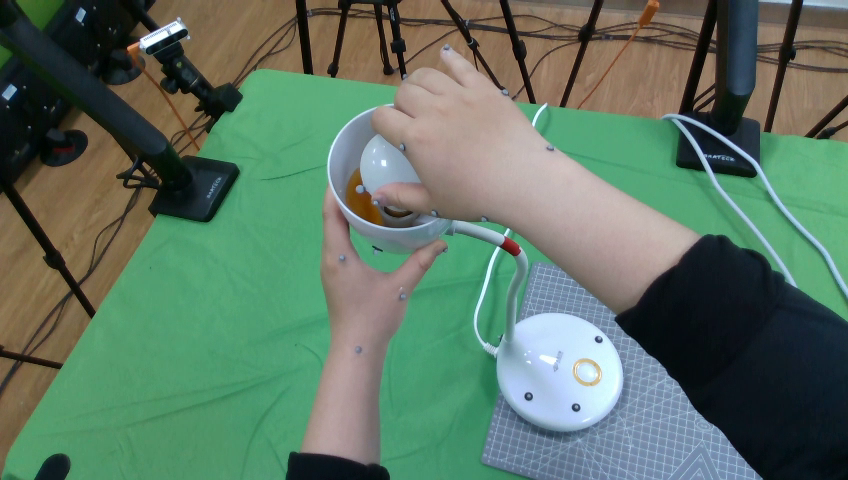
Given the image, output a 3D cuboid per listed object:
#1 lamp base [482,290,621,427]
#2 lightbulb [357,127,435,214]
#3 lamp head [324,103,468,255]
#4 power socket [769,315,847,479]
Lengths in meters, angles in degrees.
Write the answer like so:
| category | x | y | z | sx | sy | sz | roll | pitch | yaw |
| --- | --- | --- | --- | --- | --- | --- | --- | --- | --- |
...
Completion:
| category | x | y | z | sx | sy | sz | roll | pitch | yaw |
| --- | --- | --- | --- | --- | --- | --- | --- | --- | --- |
| lamp base | 0.150 | 0.120 | 0.725 | 0.178 | 0.182 | 0.159 | 5 | 58 | 15 |
| lightbulb | -0.021 | -0.047 | 0.481 | 0.059 | 0.108 | 0.059 | 1 | 71 | -2 |
| lamp head | -0.017 | -0.036 | 0.511 | 0.112 | 0.124 | 0.111 | -2 | 66 | 4 |
| power socket | 0.457 | 0.191 | 0.726 | 0.072 | 0.033 | 0.225 | 11 | 59 | 13 |
